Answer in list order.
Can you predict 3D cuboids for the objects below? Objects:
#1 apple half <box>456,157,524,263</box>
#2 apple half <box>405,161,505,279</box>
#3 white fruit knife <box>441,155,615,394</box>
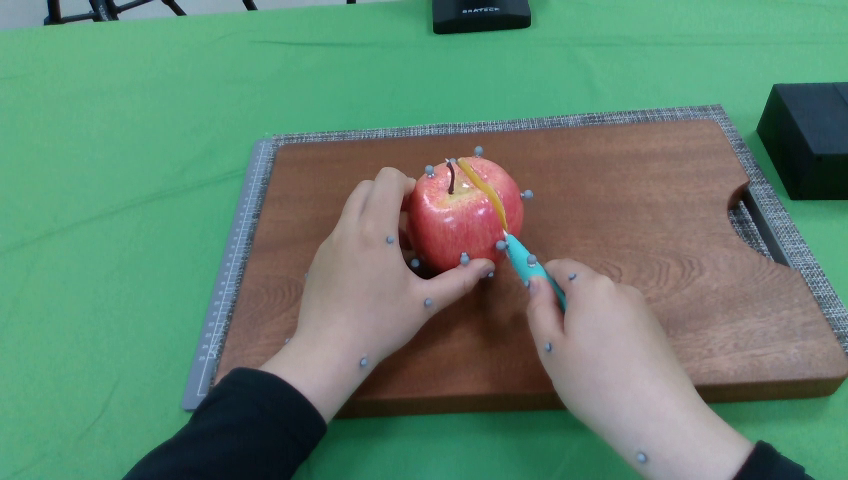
[{"bbox_3d":[0.052,-0.024,0.436,0.033,0.082,0.080,-23,49,-16],"label":"apple half"},{"bbox_3d":[0.015,-0.008,0.424,0.053,0.075,0.080,-27,54,-13],"label":"apple half"},{"bbox_3d":[0.059,0.009,0.398,0.016,0.028,0.205,-24,55,-14],"label":"white fruit knife"}]
